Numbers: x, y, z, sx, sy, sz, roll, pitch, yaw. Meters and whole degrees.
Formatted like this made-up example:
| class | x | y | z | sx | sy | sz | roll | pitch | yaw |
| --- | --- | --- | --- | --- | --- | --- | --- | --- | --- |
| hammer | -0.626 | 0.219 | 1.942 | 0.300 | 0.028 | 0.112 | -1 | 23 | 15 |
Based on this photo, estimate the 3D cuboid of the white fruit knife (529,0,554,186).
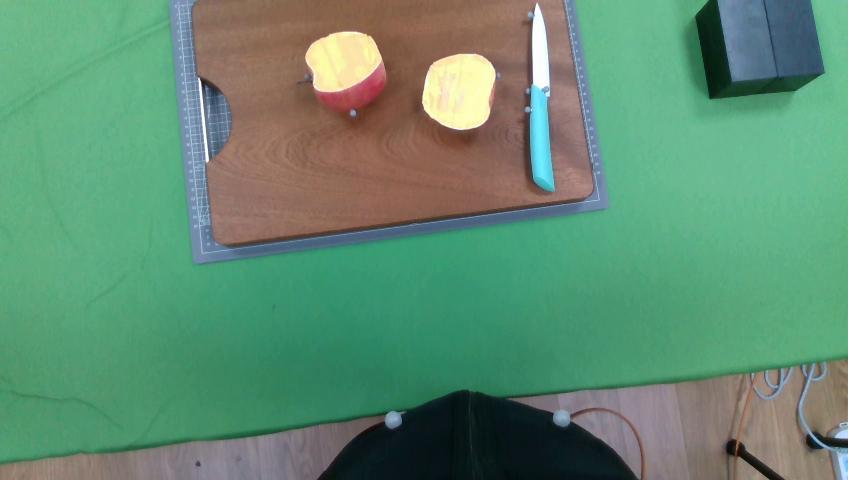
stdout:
| class | x | y | z | sx | sy | sz | roll | pitch | yaw |
| --- | --- | --- | --- | --- | --- | --- | --- | --- | --- |
| white fruit knife | 0.122 | -0.160 | 0.639 | 0.027 | 0.016 | 0.206 | 3 | 81 | -29 |

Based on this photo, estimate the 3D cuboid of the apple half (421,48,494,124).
| class | x | y | z | sx | sy | sz | roll | pitch | yaw |
| --- | --- | --- | --- | --- | --- | --- | --- | --- | --- |
| apple half | 0.037 | -0.158 | 0.628 | 0.081 | 0.033 | 0.081 | 1 | 93 | 12 |

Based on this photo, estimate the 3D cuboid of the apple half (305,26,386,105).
| class | x | y | z | sx | sy | sz | roll | pitch | yaw |
| --- | --- | --- | --- | --- | --- | --- | --- | --- | --- |
| apple half | -0.076 | -0.171 | 0.615 | 0.074 | 0.054 | 0.080 | -25 | 61 | -1 |
